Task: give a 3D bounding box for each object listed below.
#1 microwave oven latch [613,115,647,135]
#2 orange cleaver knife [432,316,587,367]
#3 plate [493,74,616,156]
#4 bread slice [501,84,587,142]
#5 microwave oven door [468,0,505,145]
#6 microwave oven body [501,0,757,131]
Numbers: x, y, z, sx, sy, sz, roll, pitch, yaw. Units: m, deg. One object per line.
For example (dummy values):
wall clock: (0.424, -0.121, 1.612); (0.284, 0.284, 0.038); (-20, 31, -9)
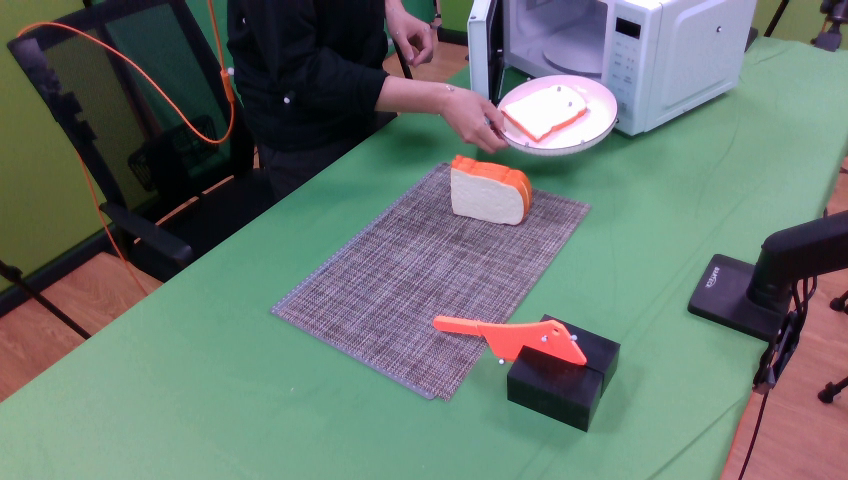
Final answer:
microwave oven latch: (0.379, -0.225, 1.139); (0.030, 0.029, 0.078); (-26, 43, -19)
orange cleaver knife: (0.101, 0.127, 0.761); (0.210, 0.077, 0.012); (-1, 34, 40)
plate: (0.226, -0.213, 1.055); (0.207, 0.039, 0.206); (-7, 48, 8)
bread slice: (0.217, -0.229, 1.070); (0.134, 0.018, 0.106); (-32, 53, -16)
microwave oven door: (0.129, -0.387, 1.208); (0.039, 0.245, 0.355); (2, 42, 11)
microwave oven body: (0.396, -0.448, 1.248); (0.327, 0.261, 0.437); (-27, 44, -21)
